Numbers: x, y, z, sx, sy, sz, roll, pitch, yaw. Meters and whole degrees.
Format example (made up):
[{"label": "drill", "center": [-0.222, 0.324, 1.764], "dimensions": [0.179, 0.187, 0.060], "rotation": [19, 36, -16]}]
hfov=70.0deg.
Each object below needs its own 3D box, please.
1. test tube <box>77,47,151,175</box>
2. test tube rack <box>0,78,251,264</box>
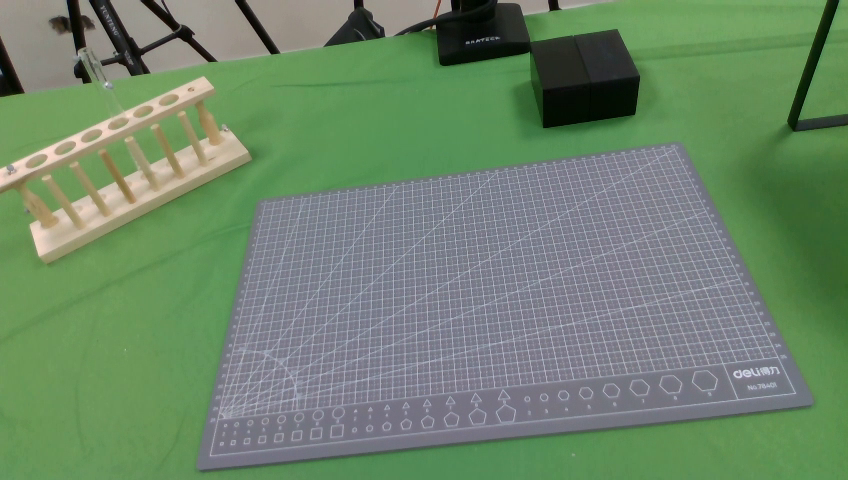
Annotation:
[{"label": "test tube", "center": [-0.326, -0.132, 0.645], "dimensions": [0.017, 0.152, 0.017], "rotation": [-4, 43, 4]}, {"label": "test tube rack", "center": [-0.326, -0.080, 0.665], "dimensions": [0.242, 0.086, 0.066], "rotation": [-31, 50, -17]}]
